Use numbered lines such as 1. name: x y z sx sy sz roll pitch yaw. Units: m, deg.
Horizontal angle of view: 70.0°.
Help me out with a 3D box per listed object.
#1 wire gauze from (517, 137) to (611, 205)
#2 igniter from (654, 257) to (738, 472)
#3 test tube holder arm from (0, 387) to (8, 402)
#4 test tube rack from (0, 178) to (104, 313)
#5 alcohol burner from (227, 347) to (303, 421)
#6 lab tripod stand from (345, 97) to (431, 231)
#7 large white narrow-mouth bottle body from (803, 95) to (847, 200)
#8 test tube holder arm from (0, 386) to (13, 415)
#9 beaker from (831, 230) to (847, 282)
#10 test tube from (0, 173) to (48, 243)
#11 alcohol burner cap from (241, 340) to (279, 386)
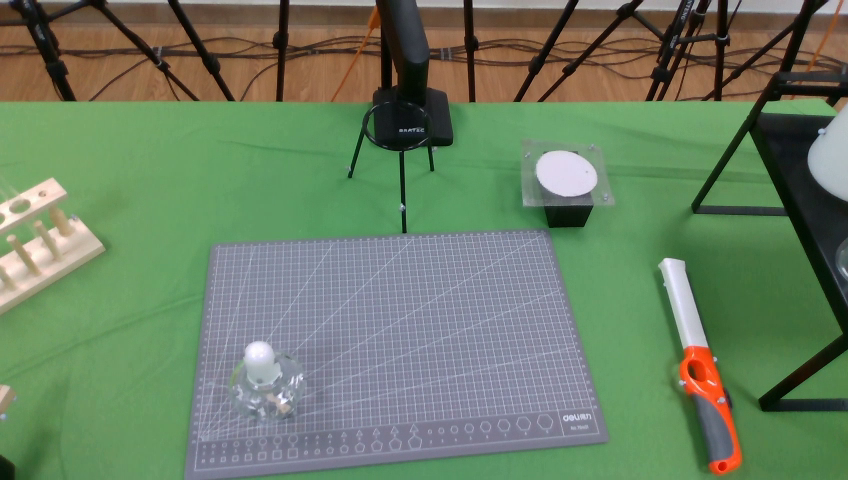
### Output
1. wire gauze: 0.190 -0.095 0.837 0.121 0.011 0.124 4 53 -3
2. igniter: 0.323 0.138 0.728 0.057 0.025 0.274 9 53 -12
3. test tube holder arm: -0.427 0.181 0.574 0.010 0.015 0.087 4 53 8
4. test tube rack: -0.508 0.037 0.687 0.066 0.086 0.242 39 60 21
5. alcohol burner: -0.165 0.140 0.624 0.078 0.120 0.077 4 52 -5
6. lab tripod stand: -0.039 -0.108 0.808 0.148 0.132 0.147 4 54 -5
7. large white narrow-mouth bottle body: 0.485 -0.132 0.612 0.102 0.196 0.101 3 54 -3
8. test tube holder arm: -0.427 0.217 0.546 0.013 0.015 0.177 4 53 8
9. beaker: 0.445 -0.002 0.573 0.084 0.101 0.073 15 54 6
10. test tube: -0.470 -0.045 0.689 0.017 0.151 0.017 1 52 -1
11. alcohol burner cap: -0.162 0.119 0.594 0.034 0.048 0.033 1 49 -1
